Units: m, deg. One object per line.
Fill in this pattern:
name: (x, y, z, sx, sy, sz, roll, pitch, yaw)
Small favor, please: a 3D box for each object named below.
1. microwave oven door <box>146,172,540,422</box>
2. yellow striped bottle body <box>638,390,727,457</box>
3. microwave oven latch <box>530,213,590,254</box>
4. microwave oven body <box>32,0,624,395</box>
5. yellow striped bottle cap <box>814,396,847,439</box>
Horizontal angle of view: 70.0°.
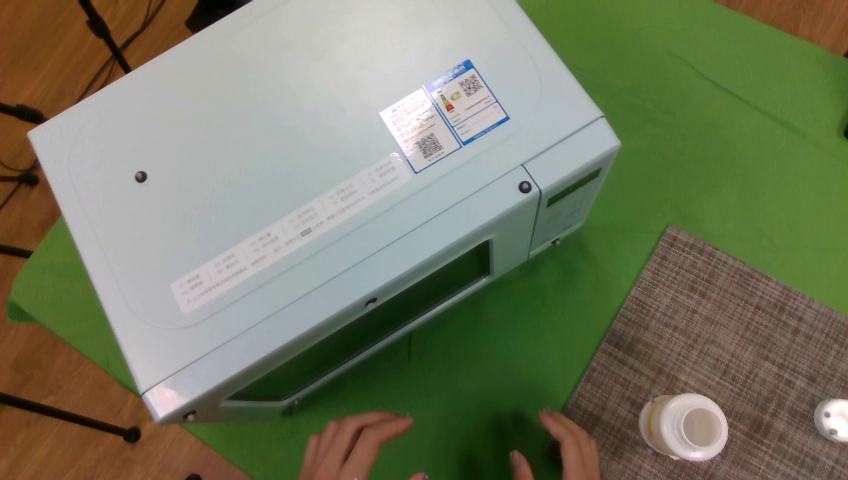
microwave oven door: (-0.051, 0.070, 0.592, 0.356, 0.245, 0.039, -31, 73, -2)
yellow striped bottle body: (0.258, 0.182, 0.605, 0.063, 0.121, 0.062, -2, 75, 6)
microwave oven latch: (0.150, -0.016, 0.697, 0.079, 0.029, 0.030, -29, 75, -1)
microwave oven body: (-0.088, -0.070, 0.637, 0.442, 0.261, 0.324, -31, 75, -2)
yellow striped bottle cap: (0.439, 0.187, 0.639, 0.044, 0.019, 0.044, -2, 75, 7)
